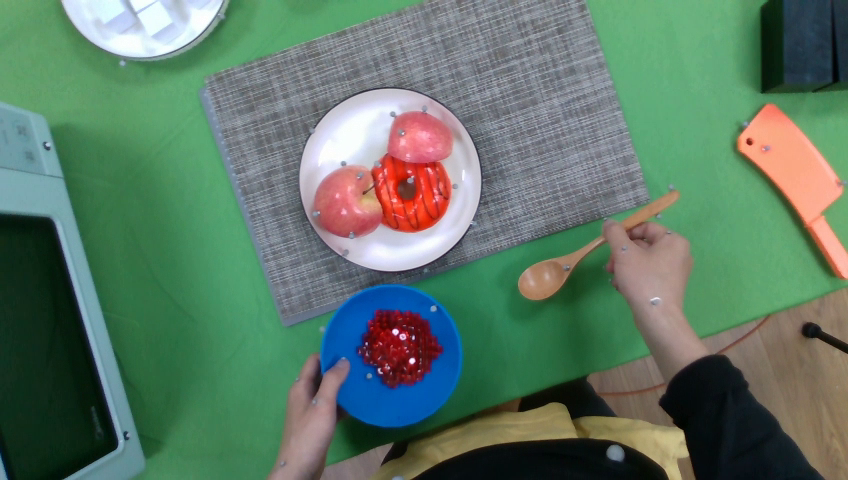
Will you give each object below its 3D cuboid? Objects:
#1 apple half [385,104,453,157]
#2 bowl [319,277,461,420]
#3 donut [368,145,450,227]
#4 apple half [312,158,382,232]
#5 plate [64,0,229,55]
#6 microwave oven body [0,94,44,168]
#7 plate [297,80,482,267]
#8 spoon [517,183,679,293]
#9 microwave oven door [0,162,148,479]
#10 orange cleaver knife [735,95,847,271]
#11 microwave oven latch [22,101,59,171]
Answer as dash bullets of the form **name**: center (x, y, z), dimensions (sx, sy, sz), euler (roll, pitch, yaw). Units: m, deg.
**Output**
- **apple half**: center (-0.004, -0.127, 0.660), dimensions (0.081, 0.033, 0.080), euler (2, 50, -2)
- **bowl**: center (-0.036, 0.115, 0.673), dimensions (0.151, 0.077, 0.151), euler (0, 89, -1)
- **donut**: center (-0.020, -0.063, 0.677), dimensions (0.099, 0.048, 0.099), euler (0, 93, 3)
- **apple half**: center (-0.092, -0.047, 0.661), dimensions (0.074, 0.053, 0.080), euler (-16, 88, 44)
- **plate**: center (-0.316, -0.316, 0.704), dimensions (0.207, 0.039, 0.207), euler (0, 91, 3)
- **microwave oven body**: center (-0.547, 0.095, 0.608), dimensions (0.326, 0.260, 0.441), euler (-17, 90, 3)
- **plate**: center (-0.038, -0.074, 0.689), dimensions (0.209, 0.038, 0.209), euler (0, 91, 3)
- **spoon**: center (0.184, -0.003, 0.645), dimensions (0.194, 0.022, 0.041), euler (-36, 61, 19)
- **microwave oven door**: center (-0.395, 0.094, 0.594), dimensions (0.039, 0.244, 0.355), euler (-17, 89, 3)
- **orange cleaver knife**: center (0.429, -0.065, 0.676), dimensions (0.077, 0.012, 0.211), euler (-34, 87, -2)
- **microwave oven latch**: center (-0.449, -0.117, 0.695), dimensions (0.030, 0.029, 0.079), euler (-15, 91, 3)
